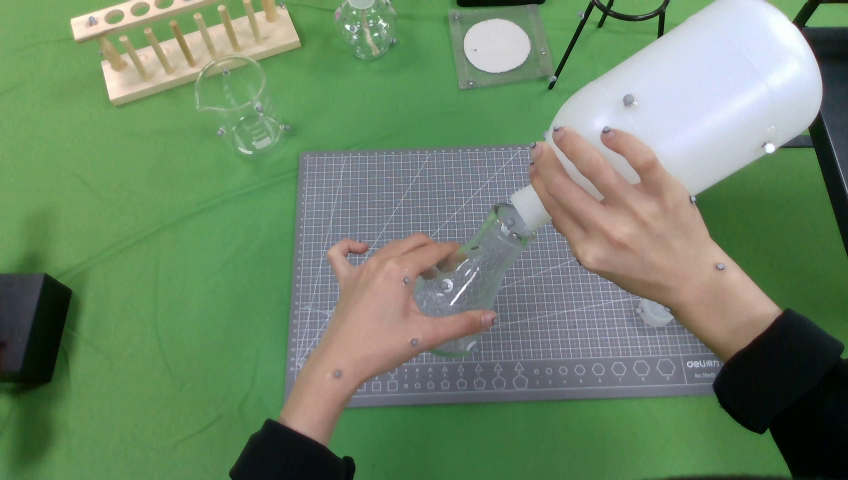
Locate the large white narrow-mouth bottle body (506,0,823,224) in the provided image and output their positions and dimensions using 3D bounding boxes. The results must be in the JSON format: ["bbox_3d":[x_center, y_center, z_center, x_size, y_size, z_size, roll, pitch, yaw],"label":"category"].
[{"bbox_3d":[0.145,-0.072,0.404,0.194,0.102,0.101,-32,68,10],"label":"large white narrow-mouth bottle body"}]

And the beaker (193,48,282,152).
[{"bbox_3d":[-0.208,-0.151,0.685,0.084,0.101,0.073,-42,71,-15],"label":"beaker"}]

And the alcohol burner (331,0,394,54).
[{"bbox_3d":[-0.076,-0.285,0.734,0.078,0.120,0.077,0,64,0],"label":"alcohol burner"}]

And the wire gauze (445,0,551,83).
[{"bbox_3d":[0.094,-0.259,0.777,0.121,0.011,0.124,-6,67,-3],"label":"wire gauze"}]

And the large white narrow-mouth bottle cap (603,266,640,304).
[{"bbox_3d":[0.207,0.048,0.637,0.038,0.024,0.037,-1,66,3],"label":"large white narrow-mouth bottle cap"}]

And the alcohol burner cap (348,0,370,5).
[{"bbox_3d":[-0.076,-0.302,0.701,0.034,0.048,0.033,4,66,-7],"label":"alcohol burner cap"}]

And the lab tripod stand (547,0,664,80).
[{"bbox_3d":[0.221,-0.250,0.703,0.148,0.132,0.147,0,66,-1],"label":"lab tripod stand"}]

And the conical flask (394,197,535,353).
[{"bbox_3d":[0.034,0.023,0.455,0.076,0.122,0.074,22,37,-17],"label":"conical flask"}]

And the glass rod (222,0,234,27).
[{"bbox_3d":[-0.241,-0.319,0.693,0.008,0.201,0.008,2,65,-3],"label":"glass rod"}]

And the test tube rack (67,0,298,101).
[{"bbox_3d":[-0.287,-0.258,0.740,0.242,0.086,0.066,-21,68,-8],"label":"test tube rack"}]
